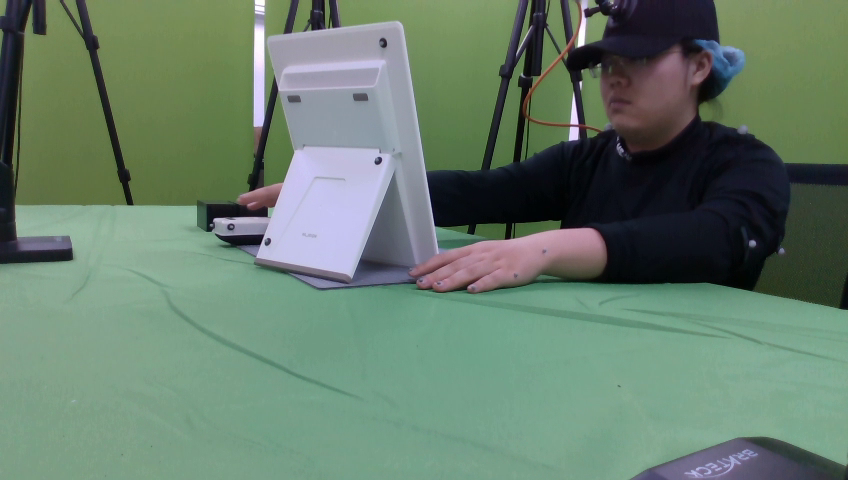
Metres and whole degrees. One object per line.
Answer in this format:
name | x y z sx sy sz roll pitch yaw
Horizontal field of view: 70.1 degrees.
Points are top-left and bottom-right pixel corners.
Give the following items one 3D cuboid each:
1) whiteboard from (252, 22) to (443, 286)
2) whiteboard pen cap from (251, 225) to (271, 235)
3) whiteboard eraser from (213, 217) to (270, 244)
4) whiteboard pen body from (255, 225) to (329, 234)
whiteboard | -0.125 -0.081 0.715 0.216 0.305 0.144 8 29 36
whiteboard pen cap | -0.288 -0.019 1.072 0.033 0.018 0.018 -4 10 -34
whiteboard eraser | -0.265 -0.016 0.941 0.113 0.042 0.055 -1 10 -34
whiteboard pen body | -0.239 -0.019 1.105 0.141 0.017 0.017 -2 9 -34
